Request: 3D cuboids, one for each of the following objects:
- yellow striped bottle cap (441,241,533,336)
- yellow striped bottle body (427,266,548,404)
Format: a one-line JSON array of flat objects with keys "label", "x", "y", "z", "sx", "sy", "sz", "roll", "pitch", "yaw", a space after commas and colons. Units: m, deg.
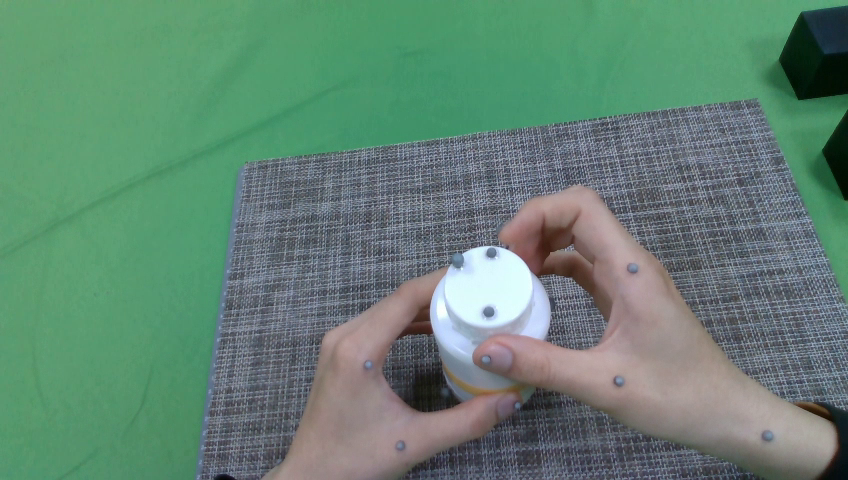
[{"label": "yellow striped bottle cap", "x": 0.030, "y": 0.023, "z": 0.293, "sx": 0.044, "sy": 0.019, "sz": 0.044, "roll": -5, "pitch": 61, "yaw": 9}, {"label": "yellow striped bottle body", "x": 0.035, "y": 0.049, "z": 0.341, "sx": 0.063, "sy": 0.121, "sz": 0.062, "roll": -2, "pitch": 63, "yaw": 4}]
